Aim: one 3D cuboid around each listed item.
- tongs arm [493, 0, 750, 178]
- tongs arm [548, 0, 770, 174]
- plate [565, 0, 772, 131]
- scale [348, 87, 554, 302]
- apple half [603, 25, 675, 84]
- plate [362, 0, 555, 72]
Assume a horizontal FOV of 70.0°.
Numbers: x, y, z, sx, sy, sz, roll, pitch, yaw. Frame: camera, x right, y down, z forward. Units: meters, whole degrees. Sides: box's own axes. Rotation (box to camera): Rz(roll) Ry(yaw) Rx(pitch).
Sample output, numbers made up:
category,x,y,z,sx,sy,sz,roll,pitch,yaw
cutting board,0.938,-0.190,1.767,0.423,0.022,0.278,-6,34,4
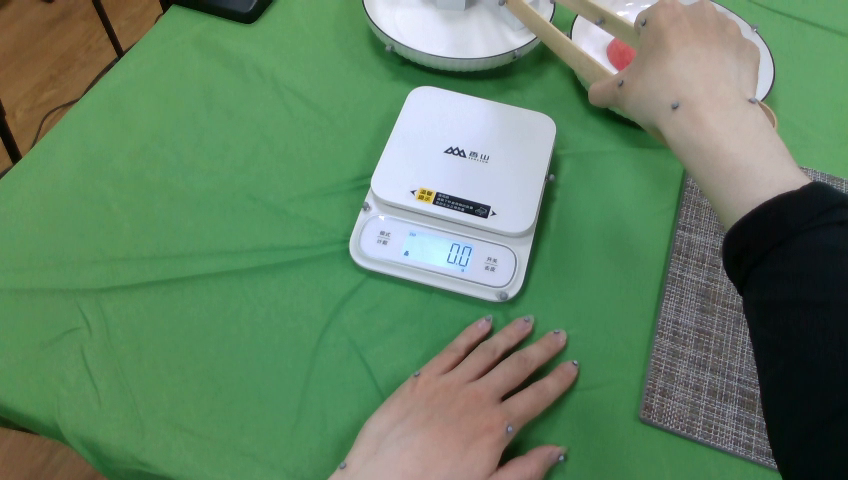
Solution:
category,x,y,z,sx,sy,sz,roll,pitch,yaw
tongs arm,0.133,-0.166,0.529,0.028,0.028,0.383,-22,46,-8
tongs arm,0.154,-0.176,0.531,0.051,0.027,0.380,-28,47,-8
plate,0.249,-0.186,0.632,0.209,0.038,0.207,1,56,-2
scale,0.029,-0.048,0.536,0.148,0.032,0.199,14,58,7
apple half,0.233,-0.201,0.635,0.081,0.033,0.080,0,54,0
plate,0.037,-0.253,0.666,0.208,0.039,0.205,1,57,-1
